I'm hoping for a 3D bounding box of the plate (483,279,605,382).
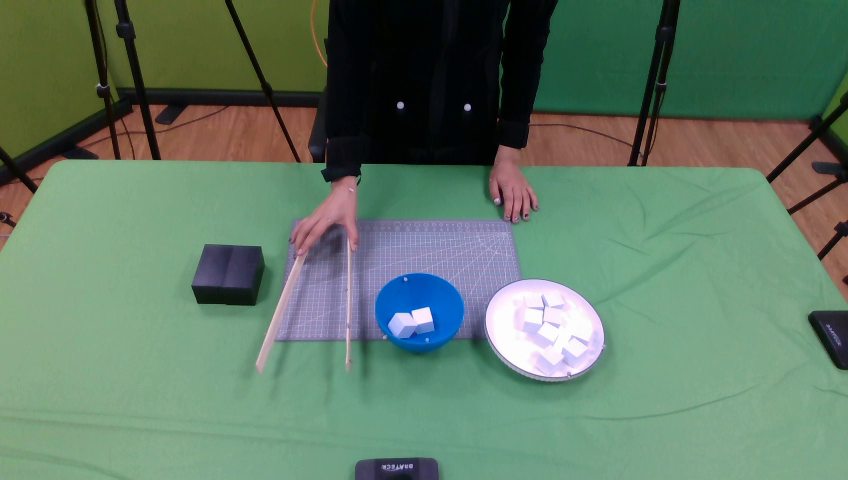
[{"bbox_3d":[0.204,0.158,1.046,0.208,0.039,0.206,3,47,-3],"label":"plate"}]

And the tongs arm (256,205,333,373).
[{"bbox_3d":[-0.226,0.069,1.079,0.028,0.028,0.385,1,43,11],"label":"tongs arm"}]

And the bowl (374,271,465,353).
[{"bbox_3d":[-0.009,0.136,1.024,0.151,0.077,0.150,2,47,-2],"label":"bowl"}]

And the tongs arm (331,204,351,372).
[{"bbox_3d":[-0.152,0.068,1.077,0.051,0.027,0.382,-4,44,1],"label":"tongs arm"}]
